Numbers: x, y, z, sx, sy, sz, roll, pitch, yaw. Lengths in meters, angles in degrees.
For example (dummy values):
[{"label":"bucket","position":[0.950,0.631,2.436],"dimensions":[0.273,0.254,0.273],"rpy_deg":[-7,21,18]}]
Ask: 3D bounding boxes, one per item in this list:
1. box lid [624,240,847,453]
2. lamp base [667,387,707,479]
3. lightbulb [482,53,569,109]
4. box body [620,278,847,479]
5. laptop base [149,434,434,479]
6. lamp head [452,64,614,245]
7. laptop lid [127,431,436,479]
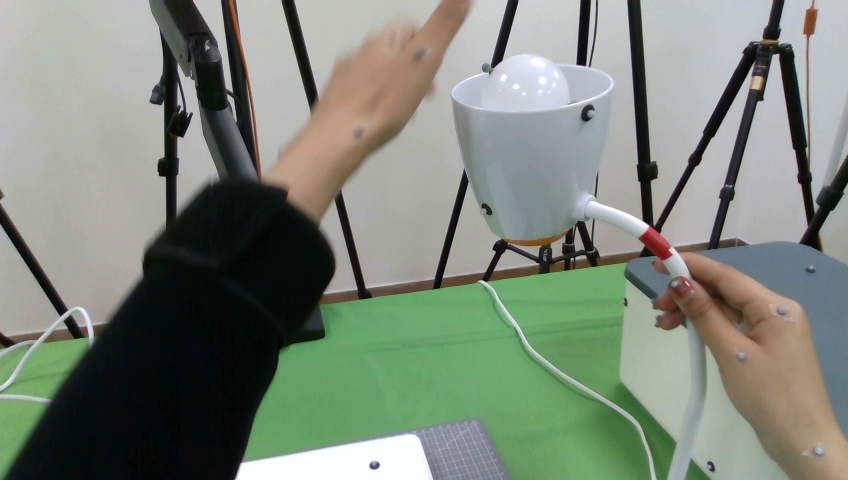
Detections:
[{"label":"box lid","position":[0.397,0.085,0.587],"dimensions":[0.264,0.015,0.367],"rpy_deg":[-6,25,-15]},{"label":"lamp base","position":[0.182,0.213,0.461],"dimensions":[0.160,0.181,0.179],"rpy_deg":[11,23,21]},{"label":"lightbulb","position":[0.073,-0.079,0.432],"dimensions":[0.059,0.108,0.059],"rpy_deg":[-7,36,5]},{"label":"box body","position":[0.397,0.154,0.616],"dimensions":[0.255,0.161,0.360],"rpy_deg":[-7,24,-15]},{"label":"laptop base","position":[-0.150,0.280,0.517],"dimensions":[0.355,0.023,0.233],"rpy_deg":[-6,28,-13]},{"label":"lamp head","position":[0.083,-0.058,0.444],"dimensions":[0.112,0.124,0.111],"rpy_deg":[-9,26,5]},{"label":"laptop lid","position":[-0.149,0.270,0.509],"dimensions":[0.357,0.013,0.239],"rpy_deg":[-5,26,-11]}]
